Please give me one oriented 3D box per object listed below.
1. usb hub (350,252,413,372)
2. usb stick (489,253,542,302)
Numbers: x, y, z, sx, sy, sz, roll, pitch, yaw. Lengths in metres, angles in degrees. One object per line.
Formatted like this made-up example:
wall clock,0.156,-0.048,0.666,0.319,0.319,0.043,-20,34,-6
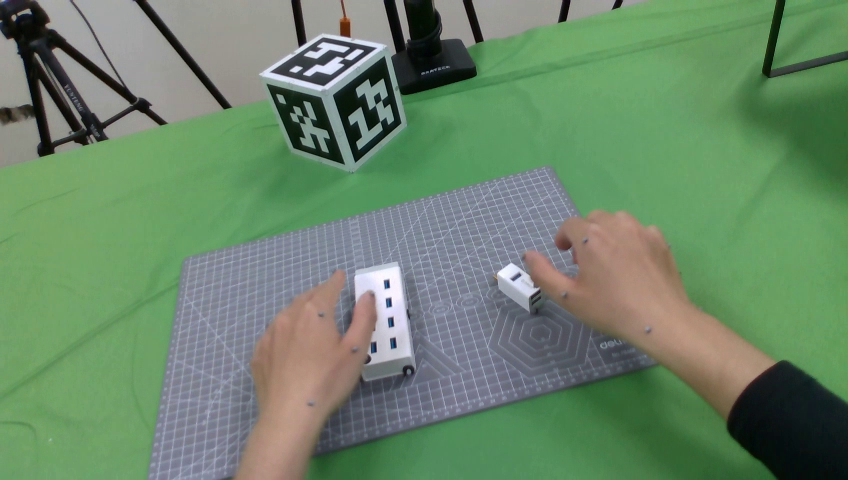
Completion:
usb hub,-0.043,0.066,0.582,0.049,0.025,0.124,-13,43,2
usb stick,0.085,0.033,0.583,0.021,0.027,0.058,-36,45,-19
